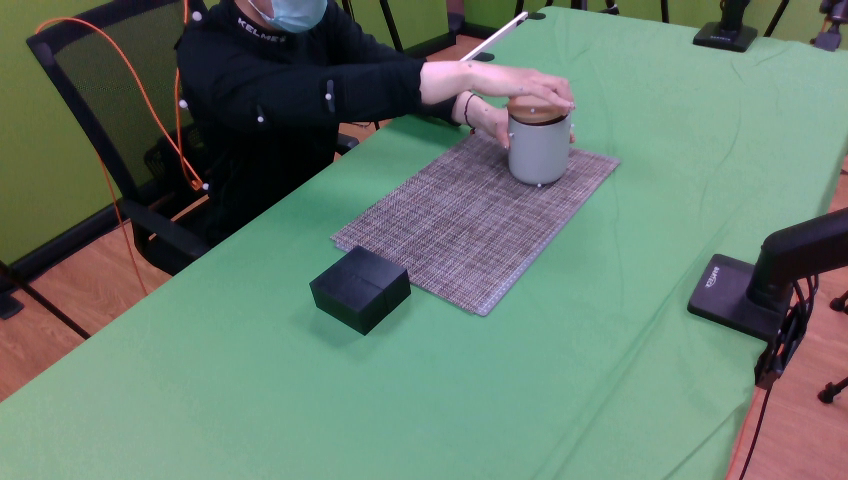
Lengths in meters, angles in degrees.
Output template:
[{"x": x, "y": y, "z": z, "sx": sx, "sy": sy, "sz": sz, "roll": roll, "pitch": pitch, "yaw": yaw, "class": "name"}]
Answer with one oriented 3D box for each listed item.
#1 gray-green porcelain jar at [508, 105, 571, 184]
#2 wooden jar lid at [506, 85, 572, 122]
[{"x": 0.199, "y": -0.169, "z": 1.051, "sx": 0.106, "sy": 0.127, "sz": 0.105, "roll": -4, "pitch": 41, "yaw": 4, "class": "gray-green porcelain jar"}, {"x": 0.192, "y": -0.226, "z": 1.005, "sx": 0.108, "sy": 0.021, "sz": 0.108, "roll": -11, "pitch": 36, "yaw": 8, "class": "wooden jar lid"}]
